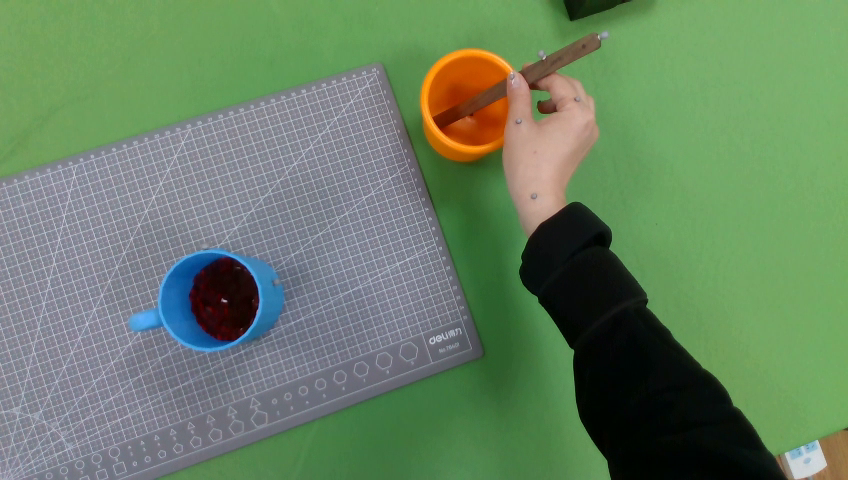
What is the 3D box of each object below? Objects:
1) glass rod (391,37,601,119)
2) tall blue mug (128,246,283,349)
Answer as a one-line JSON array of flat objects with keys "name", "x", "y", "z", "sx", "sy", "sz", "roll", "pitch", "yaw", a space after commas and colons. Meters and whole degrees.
[{"name": "glass rod", "x": 0.054, "y": -0.137, "z": 0.523, "sx": 0.199, "sy": 0.008, "sz": 0.008, "roll": -13, "pitch": 86, "yaw": 30}, {"name": "tall blue mug", "x": -0.176, "y": 0.057, "z": 0.504, "sx": 0.107, "sy": 0.108, "sz": 0.078, "roll": -43, "pitch": 91, "yaw": -7}]
